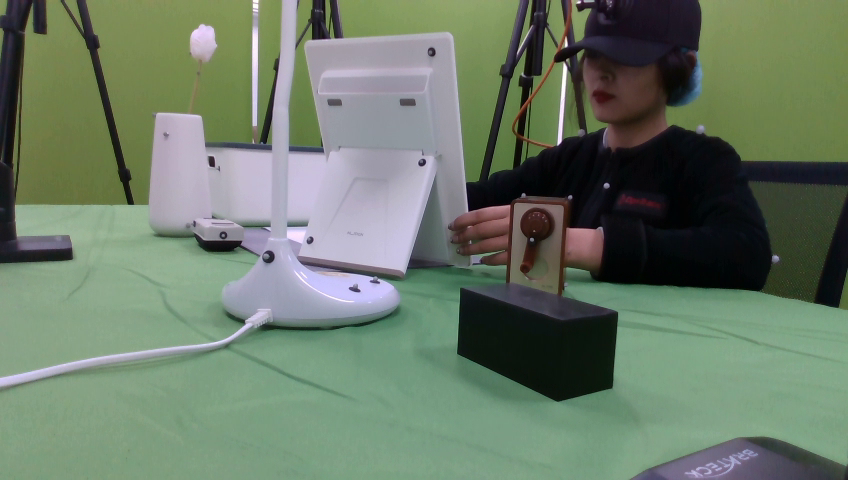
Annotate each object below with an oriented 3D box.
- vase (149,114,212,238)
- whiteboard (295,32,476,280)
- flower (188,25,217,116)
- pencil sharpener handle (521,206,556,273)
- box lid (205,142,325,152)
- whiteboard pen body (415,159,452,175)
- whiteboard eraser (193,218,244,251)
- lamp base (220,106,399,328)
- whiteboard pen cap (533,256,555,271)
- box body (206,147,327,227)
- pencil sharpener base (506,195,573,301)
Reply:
[{"bbox_3d":[-0.405,-0.106,1.005,0.098,0.200,0.098,2,6,0],"label":"vase"},{"bbox_3d":[-0.076,-0.084,0.747,0.216,0.305,0.144,7,28,29],"label":"whiteboard"},{"bbox_3d":[-0.394,-0.189,1.011,0.044,0.361,0.038,-1,-13,27],"label":"flower"},{"bbox_3d":[0.111,0.000,0.612,0.036,0.067,0.031,13,10,14],"label":"pencil sharpener handle"},{"bbox_3d":[-0.270,-0.196,1.310,0.373,0.015,0.262,-2,9,-30],"label":"box lid"},{"bbox_3d":[0.013,-0.102,0.854,0.017,0.017,0.141,5,12,19],"label":"whiteboard pen body"},{"bbox_3d":[-0.307,-0.009,0.900,0.056,0.042,0.112,-3,10,-29],"label":"whiteboard eraser"},{"bbox_3d":[-0.102,-0.023,0.531,0.160,0.180,0.179,4,10,10],"label":"lamp base"},{"bbox_3d":[0.166,0.032,0.839,0.018,0.018,0.033,-1,6,-23],"label":"whiteboard pen cap"},{"bbox_3d":[-0.276,-0.122,1.320,0.366,0.160,0.253,-2,9,-30],"label":"box body"},{"bbox_3d":[0.127,0.007,0.662,0.061,0.107,0.077,5,8,15],"label":"pencil sharpener base"}]
